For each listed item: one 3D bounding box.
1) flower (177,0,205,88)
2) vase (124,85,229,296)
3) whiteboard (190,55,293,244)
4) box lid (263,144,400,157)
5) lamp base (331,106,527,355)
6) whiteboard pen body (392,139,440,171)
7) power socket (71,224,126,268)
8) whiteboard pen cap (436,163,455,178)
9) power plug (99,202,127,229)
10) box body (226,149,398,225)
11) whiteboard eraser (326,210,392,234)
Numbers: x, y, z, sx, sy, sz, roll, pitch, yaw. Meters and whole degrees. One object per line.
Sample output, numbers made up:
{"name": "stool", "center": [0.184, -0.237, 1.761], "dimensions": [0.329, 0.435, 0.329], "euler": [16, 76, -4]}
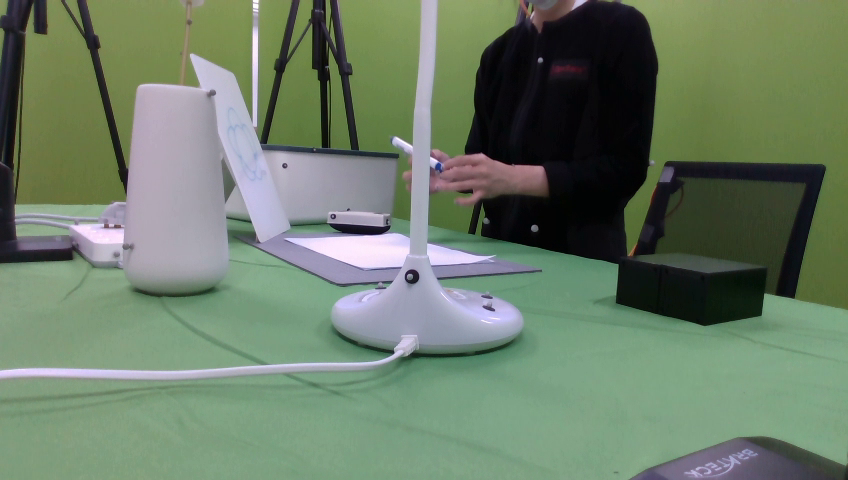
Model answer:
{"name": "flower", "center": [-0.243, -0.131, 0.609], "dimensions": [0.044, 0.361, 0.038], "euler": [-5, -12, 11]}
{"name": "vase", "center": [-0.244, -0.047, 0.598], "dimensions": [0.098, 0.200, 0.098], "euler": [3, 8, 0]}
{"name": "whiteboard", "center": [-0.362, -0.129, 1.029], "dimensions": [0.144, 0.305, 0.217], "euler": [-18, 7, 3]}
{"name": "box lid", "center": [-0.263, -0.203, 1.369], "dimensions": [0.262, 0.015, 0.373], "euler": [9, 10, 39]}
{"name": "lamp base", "center": [0.006, -0.012, 0.478], "dimensions": [0.161, 0.180, 0.179], "euler": [2, 10, 2]}
{"name": "whiteboard pen body", "center": [-0.006, -0.148, 1.076], "dimensions": [0.140, 0.017, 0.017], "euler": [34, 25, 32]}
{"name": "power socket", "center": [-0.409, 0.004, 0.793], "dimensions": [0.072, 0.032, 0.225], "euler": [-2, 8, -37]}
{"name": "whiteboard pen cap", "center": [0.037, -0.120, 1.044], "dimensions": [0.033, 0.018, 0.018], "euler": [32, 24, 35]}
{"name": "power plug", "center": [-0.415, -0.026, 0.848], "dimensions": [0.073, 0.052, 0.035], "euler": [6, 5, -28]}
{"name": "box body", "center": [-0.265, -0.129, 1.380], "dimensions": [0.253, 0.160, 0.366], "euler": [8, 9, 39]}
{"name": "whiteboard eraser", "center": [-0.121, -0.033, 1.131], "dimensions": [0.112, 0.042, 0.056], "euler": [4, 8, 13]}
